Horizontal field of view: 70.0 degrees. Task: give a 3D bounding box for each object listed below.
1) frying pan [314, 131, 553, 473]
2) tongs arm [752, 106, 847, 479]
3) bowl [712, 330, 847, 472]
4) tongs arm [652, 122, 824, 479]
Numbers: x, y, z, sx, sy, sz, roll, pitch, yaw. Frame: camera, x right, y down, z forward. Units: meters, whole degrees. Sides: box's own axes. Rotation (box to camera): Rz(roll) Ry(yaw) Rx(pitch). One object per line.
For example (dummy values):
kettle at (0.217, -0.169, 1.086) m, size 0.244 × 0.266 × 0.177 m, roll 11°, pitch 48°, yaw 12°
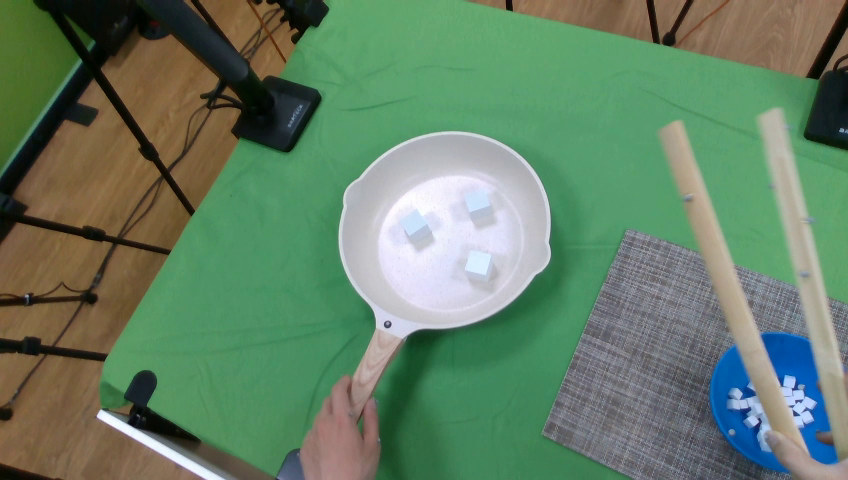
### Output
frying pan at (-0.015, 0.073, 0.803) m, size 0.305 × 0.104 × 0.486 m, roll 21°, pitch 65°, yaw 20°
tongs arm at (0.357, 0.060, 0.571) m, size 0.051 × 0.026 × 0.383 m, roll -9°, pitch 82°, yaw -25°
bowl at (0.395, 0.183, 0.679) m, size 0.151 × 0.077 × 0.150 m, roll -4°, pitch 67°, yaw 10°
tongs arm at (0.291, 0.074, 0.542) m, size 0.028 × 0.028 × 0.387 m, roll -21°, pitch 87°, yaw -29°
